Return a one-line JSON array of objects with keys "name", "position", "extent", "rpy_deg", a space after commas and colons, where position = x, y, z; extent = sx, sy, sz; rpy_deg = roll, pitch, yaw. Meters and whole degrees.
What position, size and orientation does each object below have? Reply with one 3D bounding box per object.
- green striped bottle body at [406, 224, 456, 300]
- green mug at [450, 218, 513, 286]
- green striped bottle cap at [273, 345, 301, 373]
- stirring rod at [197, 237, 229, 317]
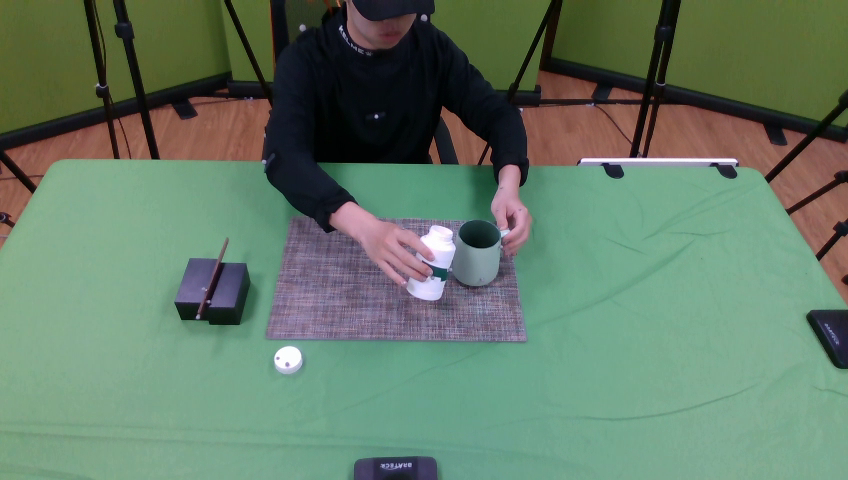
[{"name": "green striped bottle body", "position": [0.014, 0.035, 1.021], "extent": [0.063, 0.119, 0.063], "rpy_deg": [15, 20, -5]}, {"name": "green mug", "position": [0.110, 0.019, 1.126], "extent": [0.125, 0.105, 0.092], "rpy_deg": [-19, 50, -21]}, {"name": "green striped bottle cap", "position": [-0.225, 0.195, 0.997], "extent": [0.044, 0.020, 0.044], "rpy_deg": [2, 50, -2]}, {"name": "stirring rod", "position": [-0.363, 0.060, 1.047], "extent": [0.006, 0.014, 0.175], "rpy_deg": [7, 46, -3]}]
